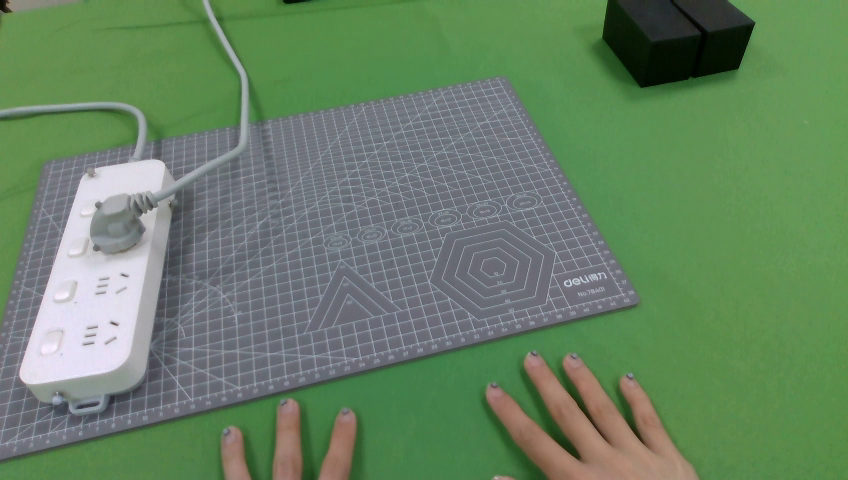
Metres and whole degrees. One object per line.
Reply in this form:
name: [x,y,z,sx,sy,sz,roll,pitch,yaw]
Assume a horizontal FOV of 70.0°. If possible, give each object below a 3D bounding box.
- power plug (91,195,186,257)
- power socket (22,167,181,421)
power plug: [-0.206,-0.003,0.443,0.072,0.053,0.035,-2,48,4]
power socket: [-0.232,0.024,0.453,0.072,0.033,0.224,-7,47,-5]
